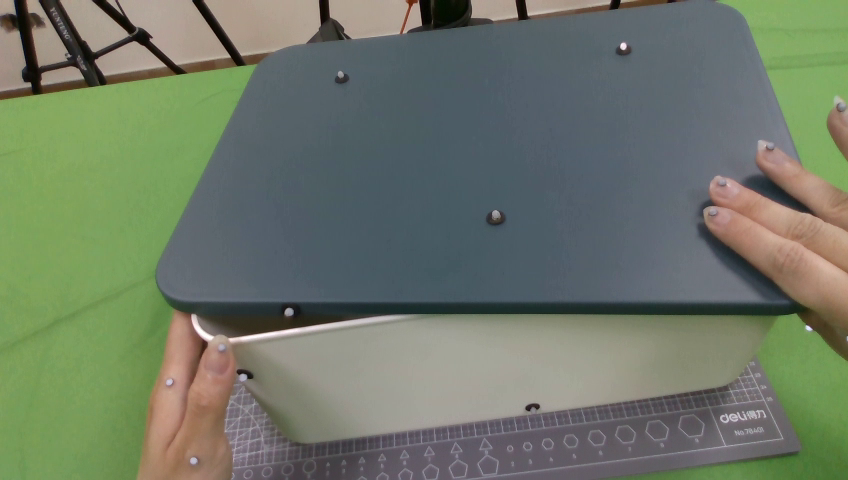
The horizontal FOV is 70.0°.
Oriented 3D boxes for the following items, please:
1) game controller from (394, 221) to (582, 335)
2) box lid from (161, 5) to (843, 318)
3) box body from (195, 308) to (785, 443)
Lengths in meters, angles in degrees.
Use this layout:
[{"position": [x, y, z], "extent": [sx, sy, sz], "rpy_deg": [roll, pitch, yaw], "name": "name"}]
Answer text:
[{"position": [0.055, 0.025, 0.510], "extent": [0.155, 0.052, 0.096], "rpy_deg": [4, 45, 12], "name": "game controller"}, {"position": [0.032, -0.063, 0.394], "extent": [0.371, 0.015, 0.261], "rpy_deg": [-2, 49, 11], "name": "box lid"}, {"position": [0.048, -0.004, 0.467], "extent": [0.364, 0.162, 0.251], "rpy_deg": [-8, 47, 1], "name": "box body"}]
